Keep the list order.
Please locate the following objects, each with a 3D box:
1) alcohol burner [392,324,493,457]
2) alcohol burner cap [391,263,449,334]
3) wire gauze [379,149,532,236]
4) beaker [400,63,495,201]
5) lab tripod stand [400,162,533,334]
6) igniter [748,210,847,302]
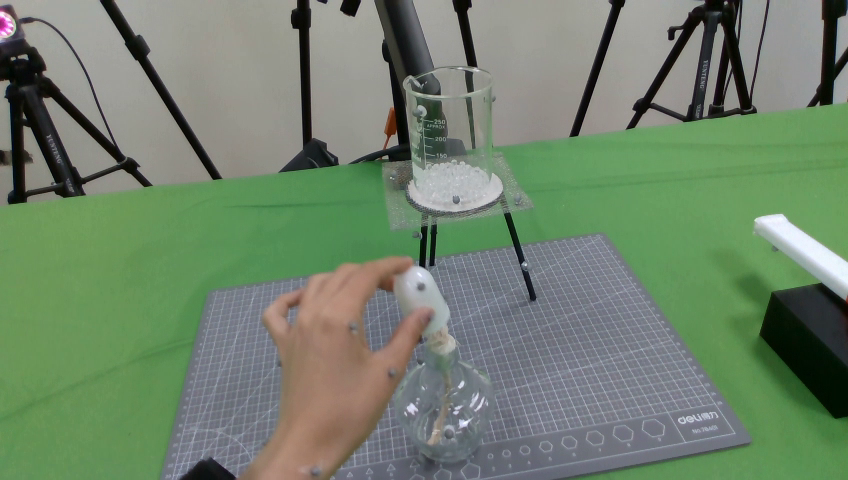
[{"bbox_3d":[0.013,0.105,0.451,0.078,0.120,0.077,-2,36,2],"label":"alcohol burner"},{"bbox_3d":[-0.004,0.036,0.406,0.034,0.048,0.033,-12,39,10],"label":"alcohol burner cap"},{"bbox_3d":[0.023,-0.050,0.542,0.121,0.011,0.123,-8,36,-4],"label":"wire gauze"},{"bbox_3d":[0.019,-0.091,0.516,0.074,0.101,0.083,-29,41,-32],"label":"beaker"},{"bbox_3d":[0.032,0.001,0.582,0.148,0.132,0.147,-2,33,2],"label":"lab tripod stand"},{"bbox_3d":[0.359,0.046,0.490,0.057,0.025,0.273,-10,31,-5],"label":"igniter"}]
